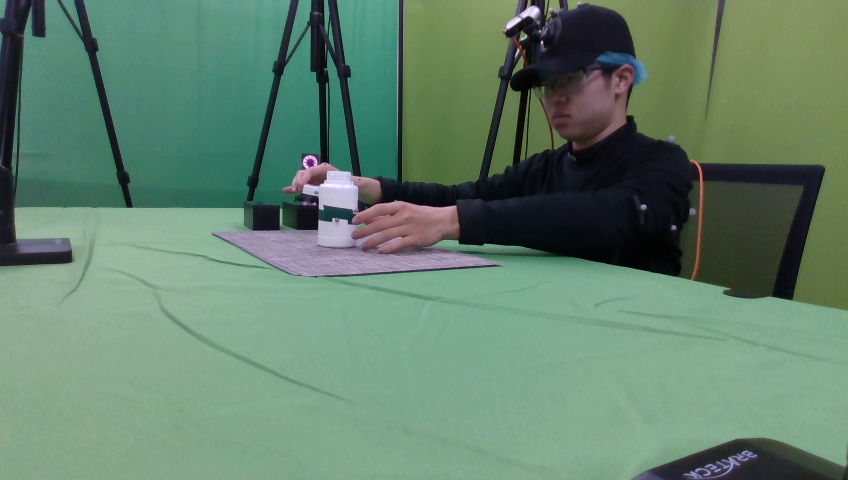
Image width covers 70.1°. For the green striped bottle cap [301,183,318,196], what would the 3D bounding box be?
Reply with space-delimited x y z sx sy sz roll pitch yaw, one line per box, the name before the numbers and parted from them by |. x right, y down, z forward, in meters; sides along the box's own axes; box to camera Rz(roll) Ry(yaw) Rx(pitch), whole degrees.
green striped bottle cap | -0.215 -0.097 1.174 0.044 0.020 0.044 11 6 -1

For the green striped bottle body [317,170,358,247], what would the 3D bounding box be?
green striped bottle body | -0.138 -0.051 0.964 0.063 0.119 0.063 2 7 0
